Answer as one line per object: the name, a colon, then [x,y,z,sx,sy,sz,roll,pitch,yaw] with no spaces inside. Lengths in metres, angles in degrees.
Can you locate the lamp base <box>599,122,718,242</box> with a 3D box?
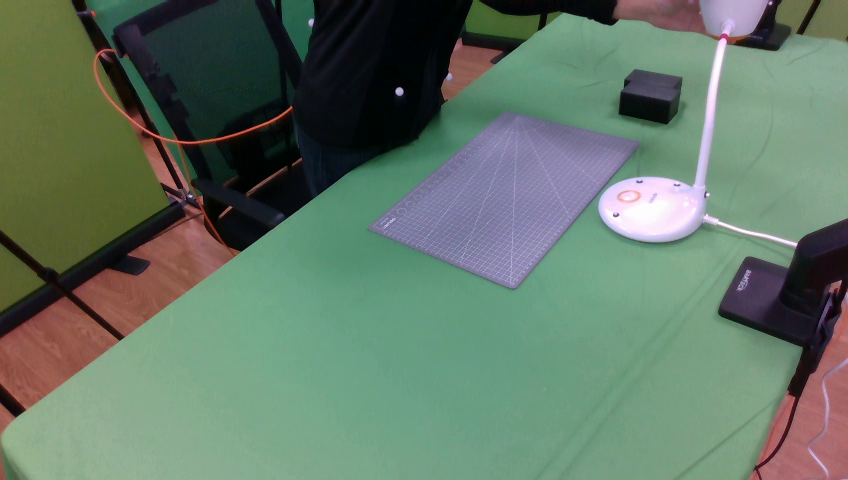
lamp base: [0.367,-0.108,0.919,0.178,0.181,0.160,12,45,20]

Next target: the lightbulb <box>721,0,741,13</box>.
lightbulb: [0.468,-0.393,0.898,0.059,0.108,0.059,-1,41,2]

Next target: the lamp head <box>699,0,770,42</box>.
lamp head: [0.470,-0.364,0.916,0.112,0.123,0.112,-7,33,5]
